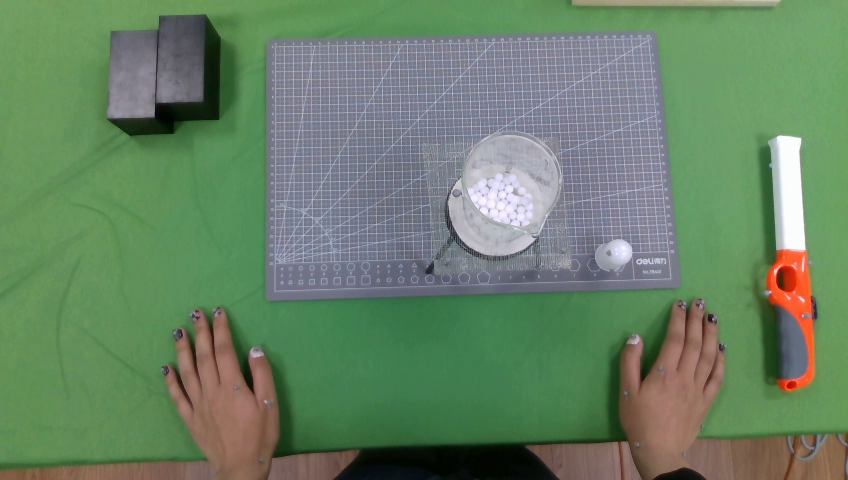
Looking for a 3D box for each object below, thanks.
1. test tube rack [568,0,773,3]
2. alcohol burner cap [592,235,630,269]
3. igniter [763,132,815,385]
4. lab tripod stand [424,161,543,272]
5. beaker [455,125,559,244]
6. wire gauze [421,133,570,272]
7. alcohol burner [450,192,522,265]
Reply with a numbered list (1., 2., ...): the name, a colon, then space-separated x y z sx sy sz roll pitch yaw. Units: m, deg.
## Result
1. test tube rack: 0.291 -0.320 0.679 0.242 0.085 0.066 -1 81 -1
2. alcohol burner cap: 0.202 0.012 0.645 0.034 0.048 0.033 0 80 1
3. igniter: 0.394 0.017 0.658 0.057 0.025 0.275 4 81 -10
4. lab tripod stand: 0.059 -0.020 0.601 0.148 0.132 0.148 0 80 1
5. beaker: 0.064 -0.036 0.488 0.074 0.100 0.083 -25 81 -4
6. wire gauze: 0.062 -0.034 0.537 0.125 0.011 0.121 -4 79 1
7. alcohol burner: 0.063 -0.015 0.611 0.078 0.119 0.077 0 79 -2
